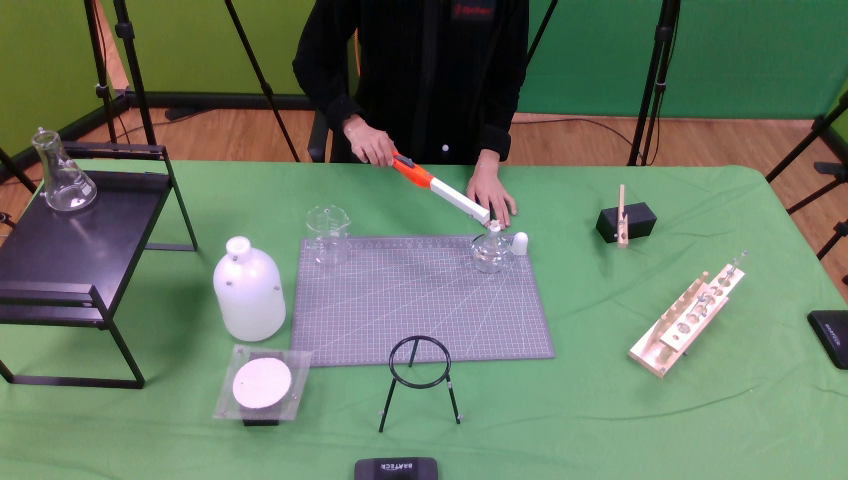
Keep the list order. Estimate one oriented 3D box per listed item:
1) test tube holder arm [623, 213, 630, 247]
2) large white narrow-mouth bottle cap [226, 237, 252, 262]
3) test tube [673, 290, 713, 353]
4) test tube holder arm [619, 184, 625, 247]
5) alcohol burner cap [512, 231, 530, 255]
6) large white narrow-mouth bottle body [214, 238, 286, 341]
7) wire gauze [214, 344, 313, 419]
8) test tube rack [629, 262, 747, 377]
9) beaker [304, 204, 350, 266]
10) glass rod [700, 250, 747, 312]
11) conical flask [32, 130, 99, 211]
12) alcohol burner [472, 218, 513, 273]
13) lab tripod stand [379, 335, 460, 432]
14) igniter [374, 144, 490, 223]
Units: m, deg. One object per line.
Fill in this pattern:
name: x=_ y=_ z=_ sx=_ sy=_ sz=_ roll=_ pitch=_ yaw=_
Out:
test tube holder arm: x=0.393 y=-0.020 z=1.179 sx=0.010 sy=0.015 sz=0.087 roll=14 pitch=46 yaw=1
large white narrow-mouth bottle cap: x=-0.282 y=0.014 z=0.923 sx=0.038 sy=0.024 sz=0.037 roll=2 pitch=46 yaw=-2
test tube: x=0.429 y=0.135 z=0.981 sx=0.017 sy=0.151 sz=0.017 roll=4 pitch=44 yaw=-4
test tube holder arm: x=0.396 y=-0.053 z=1.210 sx=0.013 sy=0.015 sz=0.177 roll=14 pitch=46 yaw=2
alcohol burner cap: x=0.191 y=0.003 z=1.188 sx=0.034 sy=0.048 sz=0.033 roll=2 pitch=46 yaw=-2
large white narrow-mouth bottle body: x=-0.285 y=0.073 z=0.986 sx=0.102 sy=0.195 sz=0.101 roll=2 pitch=46 yaw=-2
wire gauze: x=-0.241 y=0.213 z=0.915 sx=0.121 sy=0.011 sz=0.124 roll=5 pitch=46 yaw=1
test tube rack: x=0.464 y=0.126 z=1.061 sx=0.242 sy=0.085 sz=0.066 roll=-34 pitch=56 yaw=-30
beaker: x=-0.178 y=-0.006 z=1.132 sx=0.084 sy=0.101 sz=0.073 roll=4 pitch=46 yaw=-1
glass rod: x=0.500 y=0.075 z=1.021 sx=0.008 sy=0.201 sz=0.008 roll=0 pitch=54 yaw=1
conical flask: x=-0.565 y=-0.111 z=0.944 sx=0.075 sy=0.122 sz=0.075 roll=2 pitch=46 yaw=-2
alcohol burner: x=0.128 y=0.005 z=1.132 sx=0.078 sy=0.120 sz=0.077 roll=0 pitch=47 yaw=0
lab tripod stand: x=-0.011 y=0.214 z=0.912 sx=0.148 sy=0.132 sz=0.147 roll=1 pitch=45 yaw=0
igniter: x=0.009 y=-0.112 z=1.142 sx=0.275 sy=0.057 sz=0.025 roll=33 pitch=67 yaw=22
